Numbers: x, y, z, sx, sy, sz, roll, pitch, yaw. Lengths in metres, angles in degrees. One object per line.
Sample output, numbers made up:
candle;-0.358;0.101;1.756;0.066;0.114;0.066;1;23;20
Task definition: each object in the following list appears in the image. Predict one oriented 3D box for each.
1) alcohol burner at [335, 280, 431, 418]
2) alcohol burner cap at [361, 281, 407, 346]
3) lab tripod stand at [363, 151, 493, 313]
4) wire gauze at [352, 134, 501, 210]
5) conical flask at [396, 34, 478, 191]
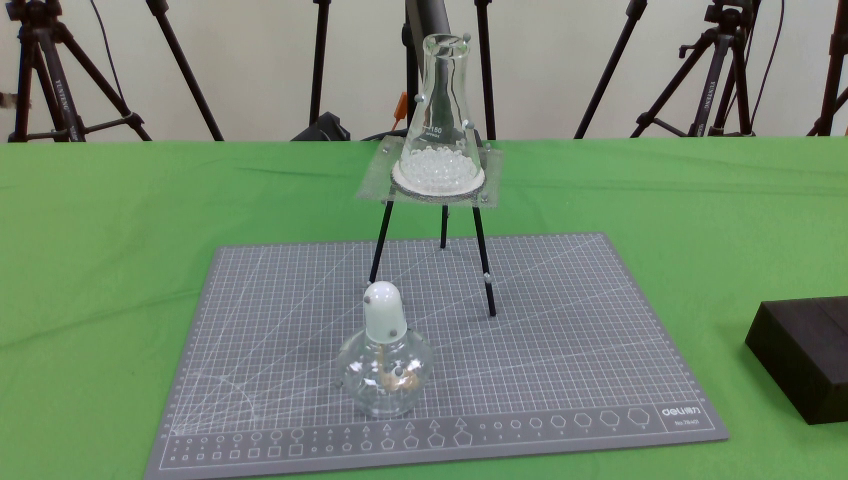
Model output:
alcohol burner;-0.032;0.082;0.477;0.078;0.120;0.077;1;33;0
alcohol burner cap;-0.031;0.053;0.456;0.034;0.048;0.033;-4;38;3
lab tripod stand;0.013;-0.008;0.592;0.148;0.132;0.147;3;34;-2
wire gauze;0.008;-0.063;0.555;0.121;0.011;0.124;6;37;6
conical flask;0.014;-0.110;0.518;0.075;0.123;0.074;2;35;-1
